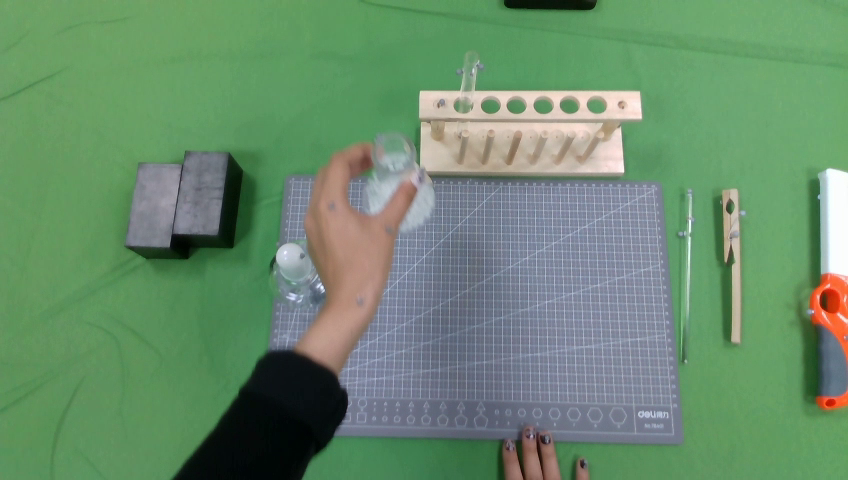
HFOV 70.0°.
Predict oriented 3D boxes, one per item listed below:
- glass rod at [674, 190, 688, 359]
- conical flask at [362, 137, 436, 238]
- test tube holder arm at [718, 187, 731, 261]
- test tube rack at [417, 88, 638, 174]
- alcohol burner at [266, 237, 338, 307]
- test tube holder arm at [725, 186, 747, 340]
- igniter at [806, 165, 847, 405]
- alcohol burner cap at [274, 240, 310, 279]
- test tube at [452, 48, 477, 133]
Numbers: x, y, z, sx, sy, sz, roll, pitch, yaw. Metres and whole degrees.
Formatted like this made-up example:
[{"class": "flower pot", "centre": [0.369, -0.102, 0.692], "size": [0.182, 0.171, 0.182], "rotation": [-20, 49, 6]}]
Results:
[{"class": "glass rod", "centre": [0.295, 0.036, 0.693], "size": [0.008, 0.008, 0.199], "rotation": [8, 76, 3]}, {"class": "conical flask", "centre": [-0.025, -0.052, 0.557], "size": [0.075, 0.122, 0.075], "rotation": [0, 75, 0]}, {"class": "test tube holder arm", "centre": [0.351, -0.019, 0.705], "size": [0.010, 0.015, 0.087], "rotation": [-9, 70, 39]}, {"class": "test tube rack", "centre": [0.113, -0.124, 0.701], "size": [0.242, 0.085, 0.066], "rotation": [0, 74, 1]}, {"class": "alcohol burner", "centre": [-0.133, 0.029, 0.641], "size": [0.078, 0.120, 0.077], "rotation": [-1, 73, 3]}, {"class": "test tube holder arm", "centre": [0.353, 0.024, 0.689], "size": [0.013, 0.015, 0.177], "rotation": [-11, 69, 38]}, {"class": "igniter", "centre": [0.456, 0.046, 0.679], "size": [0.057, 0.025, 0.275], "rotation": [12, 75, -6]}, {"class": "alcohol burner cap", "centre": [-0.134, 0.017, 0.607], "size": [0.034, 0.048, 0.033], "rotation": [1, 70, -3]}, {"class": "test tube", "centre": [0.043, -0.157, 0.659], "size": [0.017, 0.151, 0.017], "rotation": [0, 71, -1]}]
